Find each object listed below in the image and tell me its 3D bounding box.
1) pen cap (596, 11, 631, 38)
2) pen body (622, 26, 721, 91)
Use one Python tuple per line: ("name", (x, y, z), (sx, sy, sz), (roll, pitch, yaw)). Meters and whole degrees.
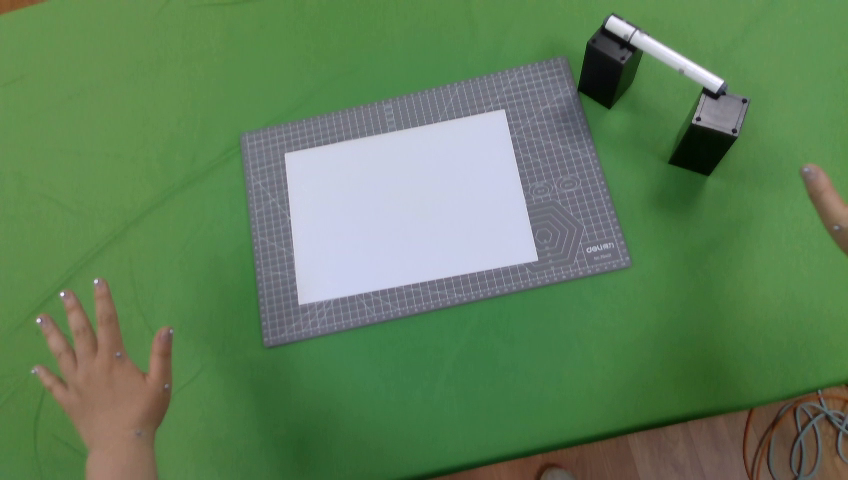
("pen cap", (0.214, -0.244, 0.684), (0.038, 0.017, 0.017), (38, 81, 16))
("pen body", (0.261, -0.208, 0.668), (0.143, 0.017, 0.017), (39, 81, 15))
